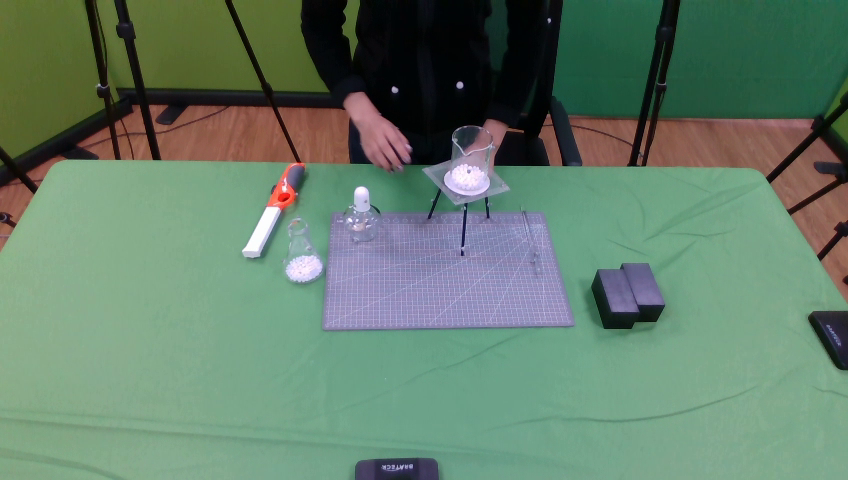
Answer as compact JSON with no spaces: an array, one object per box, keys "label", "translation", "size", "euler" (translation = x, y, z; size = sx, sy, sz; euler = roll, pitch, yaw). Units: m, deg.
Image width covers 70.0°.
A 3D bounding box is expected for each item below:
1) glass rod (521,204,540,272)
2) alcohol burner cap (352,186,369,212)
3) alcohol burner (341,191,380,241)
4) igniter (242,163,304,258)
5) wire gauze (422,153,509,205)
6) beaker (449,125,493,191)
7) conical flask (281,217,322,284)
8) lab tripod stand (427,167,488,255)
[{"label":"glass rod","translation":[0.215,-0.008,1.230],"size":[0.008,0.008,0.198],"euler":[0,43,-3]},{"label":"alcohol burner cap","translation":[-0.121,-0.079,1.149],"size":[0.034,0.048,0.033],"euler":[1,40,-1]},{"label":"alcohol burner","translation":[-0.123,-0.054,1.175],"size":[0.078,0.119,0.077],"euler":[4,47,-4]},{"label":"igniter","translation":[-0.305,-0.069,1.239],"size":[0.057,0.025,0.275],"euler":[2,45,12]},{"label":"wire gauze","translation":[0.078,-0.114,1.144],"size":[0.125,0.011,0.120],"euler":[-21,49,-20]},{"label":"beaker","translation":[0.083,-0.146,1.108],"size":[0.074,0.101,0.083],"euler":[15,47,11]},{"label":"conical flask","translation":[-0.226,0.016,1.097],"size":[0.075,0.122,0.075],"euler":[3,46,-2]},{"label":"lab tripod stand","translation":[0.076,-0.068,1.191],"size":[0.148,0.132,0.147],"euler":[3,44,-2]}]
